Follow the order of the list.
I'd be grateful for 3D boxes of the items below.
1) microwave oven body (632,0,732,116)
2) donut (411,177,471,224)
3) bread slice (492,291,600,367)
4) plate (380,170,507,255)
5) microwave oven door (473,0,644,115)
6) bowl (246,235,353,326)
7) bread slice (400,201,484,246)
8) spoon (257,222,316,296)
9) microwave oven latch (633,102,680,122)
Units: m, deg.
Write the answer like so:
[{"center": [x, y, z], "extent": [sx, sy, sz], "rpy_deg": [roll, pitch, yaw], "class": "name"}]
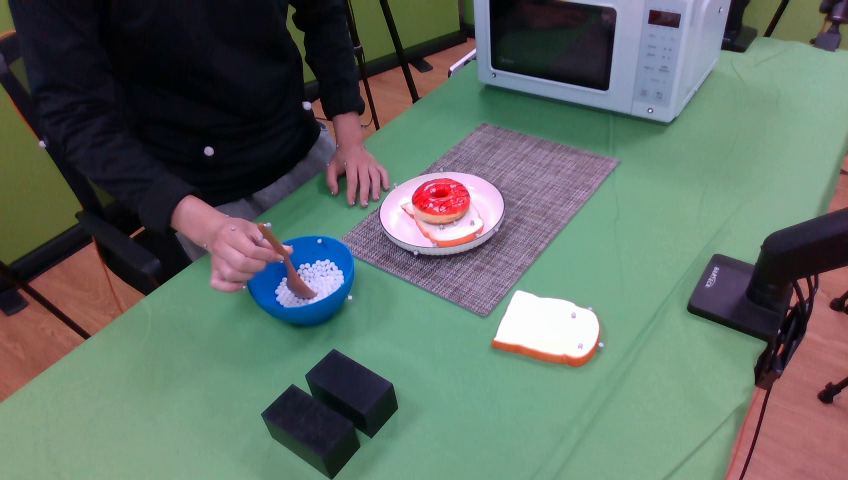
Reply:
[{"center": [0.377, -0.462, 1.267], "extent": [0.438, 0.261, 0.327], "rpy_deg": [21, 48, 30], "class": "microwave oven body"}, {"center": [0.028, -0.064, 0.978], "extent": [0.099, 0.048, 0.098], "rpy_deg": [-4, 39, 4], "class": "donut"}, {"center": [0.169, 0.118, 0.811], "extent": [0.131, 0.019, 0.105], "rpy_deg": [11, 44, 21], "class": "bread slice"}, {"center": [0.033, -0.042, 0.995], "extent": [0.207, 0.039, 0.206], "rpy_deg": [-4, 40, 4], "class": "plate"}, {"center": [0.257, -0.396, 1.199], "extent": [0.353, 0.245, 0.039], "rpy_deg": [21, 48, 29], "class": "microwave oven door"}, {"center": [-0.170, 0.070, 0.868], "extent": [0.151, 0.077, 0.150], "rpy_deg": [-4, 41, 4], "class": "bowl"}, {"center": [0.037, -0.038, 0.990], "extent": [0.107, 0.018, 0.133], "rpy_deg": [-23, 43, -17], "class": "bread slice"}, {"center": [-0.184, 0.029, 0.799], "extent": [0.041, 0.195, 0.021], "rpy_deg": [12, 58, 16], "class": "spoon"}, {"center": [0.444, -0.249, 1.157], "extent": [0.078, 0.029, 0.030], "rpy_deg": [21, 49, 30], "class": "microwave oven latch"}]
